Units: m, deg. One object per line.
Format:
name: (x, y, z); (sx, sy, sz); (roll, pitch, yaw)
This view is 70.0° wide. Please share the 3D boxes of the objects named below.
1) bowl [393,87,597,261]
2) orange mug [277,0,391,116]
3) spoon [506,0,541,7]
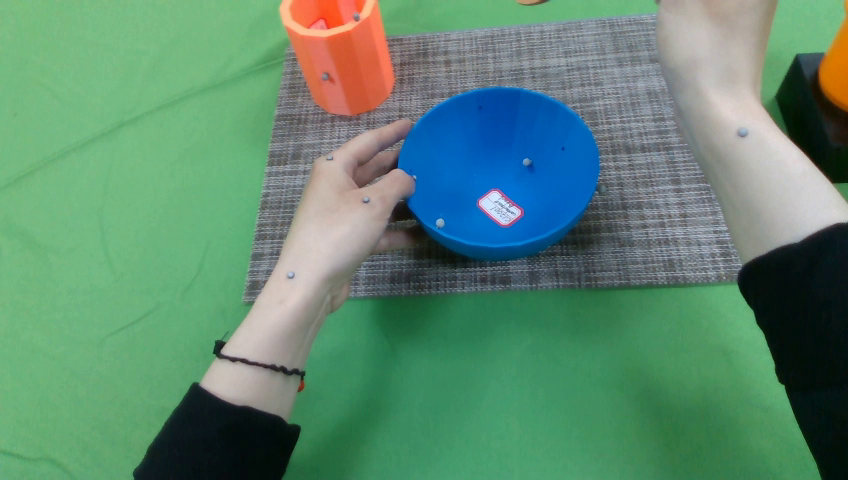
bowl: (0.055, -0.039, 0.480); (0.151, 0.077, 0.150); (-3, 59, 5)
orange mug: (-0.078, -0.198, 0.577); (0.083, 0.101, 0.125); (8, 65, 12)
spoon: (0.119, -0.187, 0.390); (0.192, 0.022, 0.041); (6, 68, 59)
